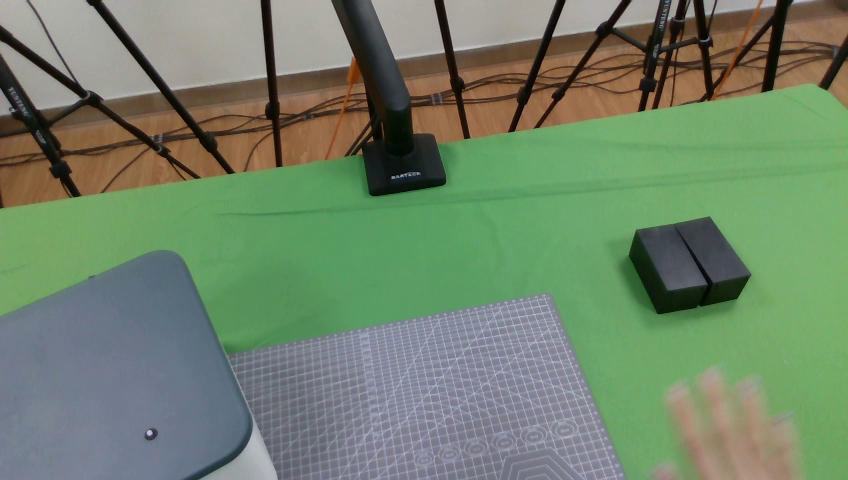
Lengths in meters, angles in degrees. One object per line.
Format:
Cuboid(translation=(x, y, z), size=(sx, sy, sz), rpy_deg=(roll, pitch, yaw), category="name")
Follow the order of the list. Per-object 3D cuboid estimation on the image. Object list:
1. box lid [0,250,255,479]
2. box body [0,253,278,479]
Cuboid(translation=(-0.356, 0.161, 0.528), size=(0.372, 0.015, 0.260), rpy_deg=(-26, 53, -18), category="box lid")
Cuboid(translation=(-0.354, 0.210, 0.585), size=(0.364, 0.162, 0.251), rpy_deg=(-26, 53, -17), category="box body")
